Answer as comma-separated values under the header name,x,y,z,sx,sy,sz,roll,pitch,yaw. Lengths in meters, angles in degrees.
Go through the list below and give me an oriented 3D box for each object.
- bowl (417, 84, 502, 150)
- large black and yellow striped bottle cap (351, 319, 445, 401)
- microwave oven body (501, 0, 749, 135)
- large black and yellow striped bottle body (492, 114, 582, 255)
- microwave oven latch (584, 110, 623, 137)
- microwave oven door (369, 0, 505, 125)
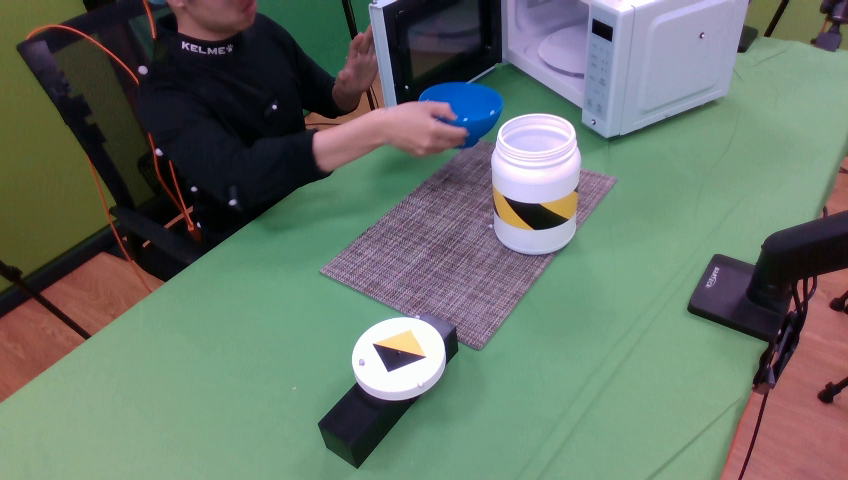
name,x,y,z,sx,sy,sz,roll,pitch,yaw
bowl,0.062,-0.213,1.087,0.151,0.077,0.150,1,39,0
large black and yellow striped bottle cap,-0.031,0.143,0.735,0.115,0.019,0.114,-3,40,3
microwave oven body,0.382,-0.444,1.246,0.327,0.261,0.437,-22,42,-16
large black and yellow striped bottle body,0.169,-0.083,0.912,0.131,0.185,0.130,-4,41,4
microwave oven latch,0.337,-0.222,1.142,0.030,0.029,0.078,-21,42,-14
microwave oven door,0.042,-0.425,1.263,0.039,0.245,0.357,29,52,34
